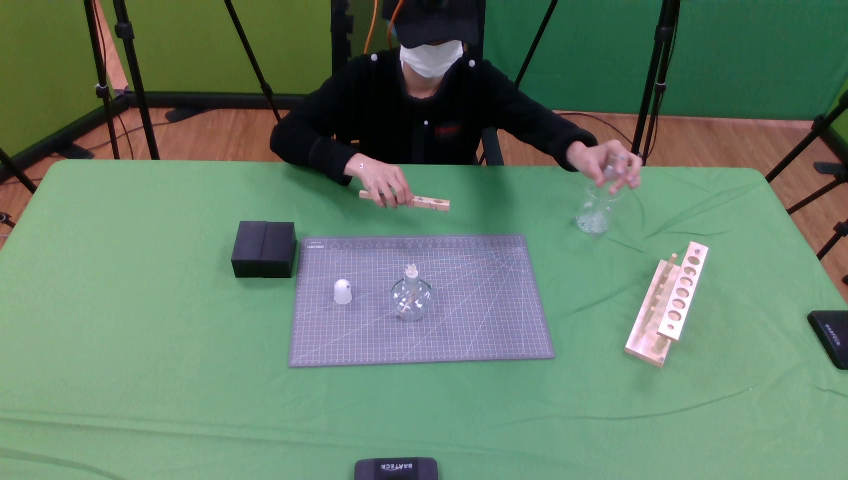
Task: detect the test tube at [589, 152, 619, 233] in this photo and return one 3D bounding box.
[{"bbox_3d":[0.280,-0.071,0.949,0.017,0.151,0.017,2,40,-1],"label":"test tube"}]

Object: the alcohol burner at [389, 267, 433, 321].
[{"bbox_3d":[-0.022,0.085,1.046,0.078,0.119,0.077,3,48,-3],"label":"alcohol burner"}]

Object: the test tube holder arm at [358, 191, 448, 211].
[{"bbox_3d":[-0.041,-0.075,1.165,0.178,0.015,0.013,8,34,8],"label":"test tube holder arm"}]

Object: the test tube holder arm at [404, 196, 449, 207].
[{"bbox_3d":[0.004,-0.073,1.163,0.088,0.015,0.010,8,35,8],"label":"test tube holder arm"}]

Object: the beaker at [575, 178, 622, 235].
[{"bbox_3d":[0.356,-0.068,1.239,0.084,0.101,0.073,-18,50,-21],"label":"beaker"}]

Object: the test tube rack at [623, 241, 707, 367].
[{"bbox_3d":[0.435,0.104,1.089,0.066,0.085,0.242,24,49,18],"label":"test tube rack"}]

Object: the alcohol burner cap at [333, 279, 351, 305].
[{"bbox_3d":[-0.147,0.090,1.083,0.034,0.048,0.033,2,46,-2],"label":"alcohol burner cap"}]
